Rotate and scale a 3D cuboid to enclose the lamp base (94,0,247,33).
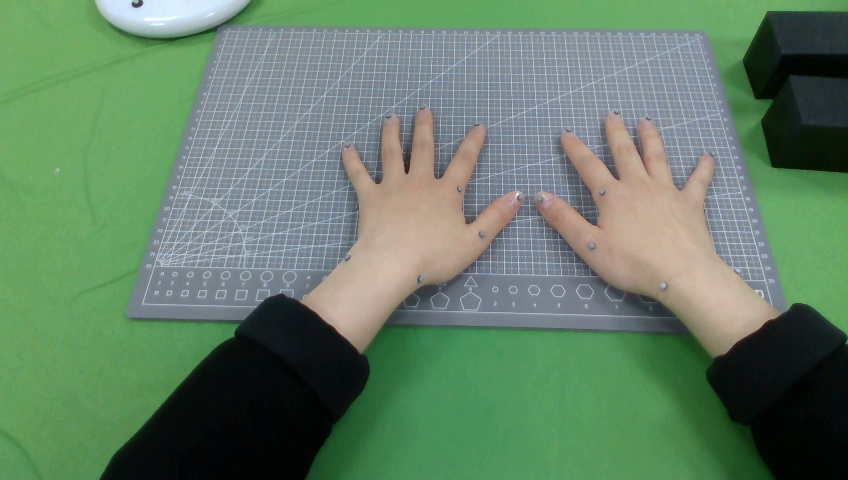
[{"bbox_3d":[-0.250,-0.306,0.529,0.160,0.182,0.177,-36,62,-19],"label":"lamp base"}]
